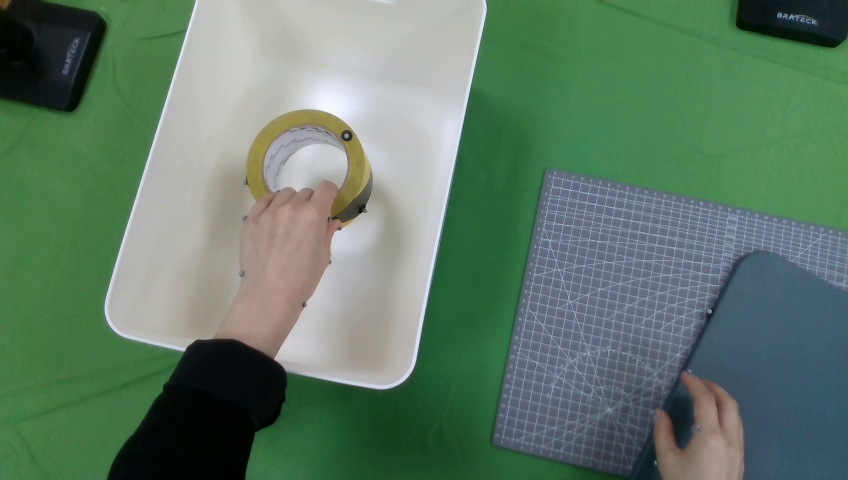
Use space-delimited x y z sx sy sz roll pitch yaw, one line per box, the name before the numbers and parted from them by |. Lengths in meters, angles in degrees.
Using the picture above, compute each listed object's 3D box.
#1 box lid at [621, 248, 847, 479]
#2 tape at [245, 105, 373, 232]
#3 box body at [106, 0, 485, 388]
box lid | 0.363 0.214 0.605 0.263 0.015 0.370 30 82 5
tape | -0.108 -0.066 0.580 0.117 0.053 0.116 0 83 3
box body | -0.100 -0.062 0.585 0.254 0.161 0.362 11 80 2
